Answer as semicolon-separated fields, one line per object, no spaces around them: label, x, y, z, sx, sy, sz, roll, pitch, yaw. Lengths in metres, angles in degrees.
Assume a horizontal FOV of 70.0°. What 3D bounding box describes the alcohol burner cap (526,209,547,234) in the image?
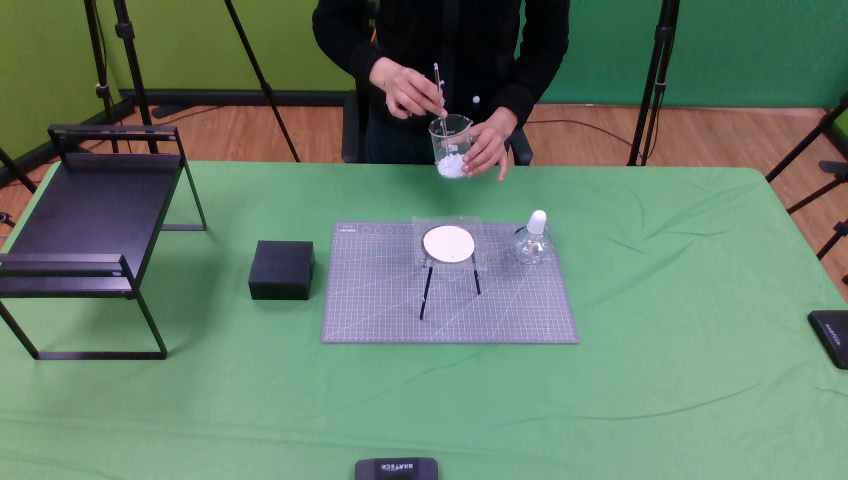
alcohol burner cap;0.213;-0.037;1.133;0.034;0.048;0.033;4;51;-5

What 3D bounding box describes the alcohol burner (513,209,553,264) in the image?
alcohol burner;0.211;-0.012;1.159;0.078;0.120;0.077;2;44;-1

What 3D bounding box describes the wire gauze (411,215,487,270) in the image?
wire gauze;0.041;0.002;1.026;0.125;0.011;0.120;1;46;-3

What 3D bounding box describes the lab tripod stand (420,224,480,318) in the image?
lab tripod stand;0.034;0.052;1.070;0.148;0.132;0.147;3;48;-3

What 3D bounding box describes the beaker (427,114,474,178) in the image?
beaker;0.054;-0.171;1.114;0.084;0.101;0.073;-17;42;-5

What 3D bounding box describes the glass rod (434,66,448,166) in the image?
glass rod;0.032;-0.216;1.080;0.008;0.201;0.008;-5;40;4
